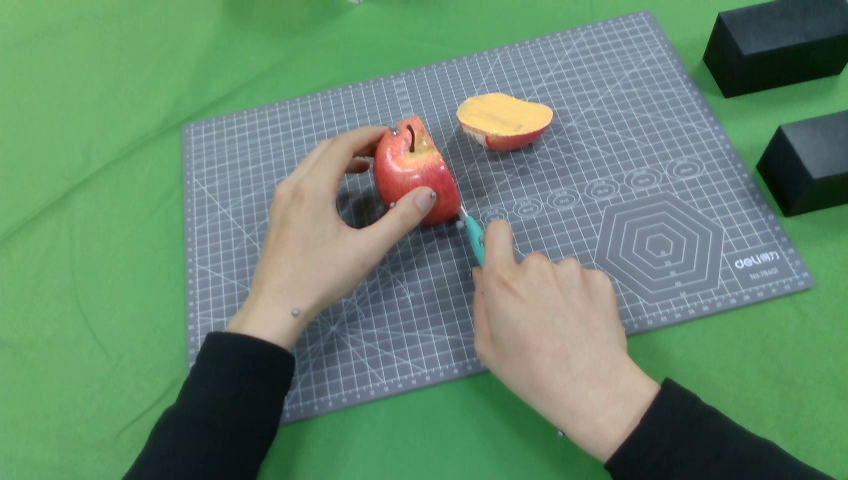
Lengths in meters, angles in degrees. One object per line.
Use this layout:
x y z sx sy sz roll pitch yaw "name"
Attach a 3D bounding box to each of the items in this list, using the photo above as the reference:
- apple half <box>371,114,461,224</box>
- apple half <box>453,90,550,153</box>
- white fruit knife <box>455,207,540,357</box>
-0.011 -0.047 0.462 0.053 0.075 0.080 -28 64 -3 "apple half"
0.061 -0.090 0.498 0.081 0.033 0.080 -1 41 1 "apple half"
0.035 -0.005 0.458 0.016 0.028 0.205 -21 57 -9 "white fruit knife"
